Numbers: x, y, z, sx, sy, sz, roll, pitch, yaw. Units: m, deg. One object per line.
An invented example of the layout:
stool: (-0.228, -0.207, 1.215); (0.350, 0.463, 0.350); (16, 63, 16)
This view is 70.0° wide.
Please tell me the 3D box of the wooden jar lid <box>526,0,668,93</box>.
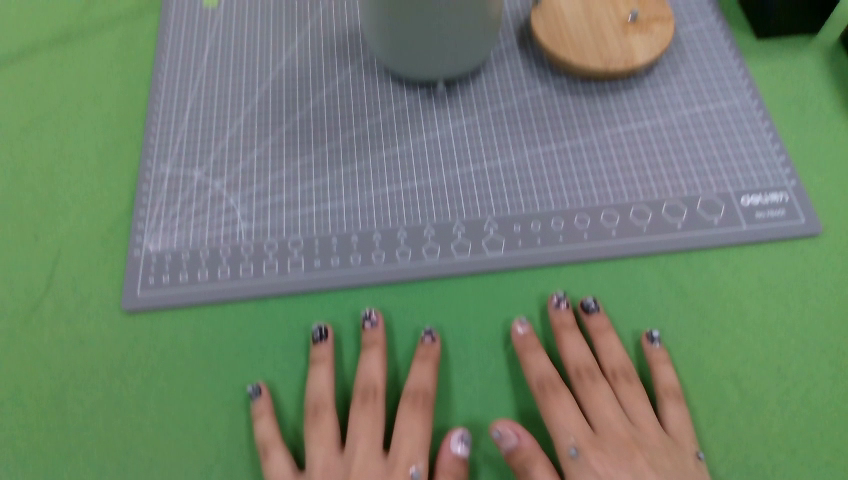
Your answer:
wooden jar lid: (0.133, -0.155, 0.474); (0.108, 0.021, 0.107); (-1, 60, 2)

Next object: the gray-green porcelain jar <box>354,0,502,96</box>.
gray-green porcelain jar: (0.003, -0.175, 0.426); (0.106, 0.127, 0.105); (0, 60, 1)
